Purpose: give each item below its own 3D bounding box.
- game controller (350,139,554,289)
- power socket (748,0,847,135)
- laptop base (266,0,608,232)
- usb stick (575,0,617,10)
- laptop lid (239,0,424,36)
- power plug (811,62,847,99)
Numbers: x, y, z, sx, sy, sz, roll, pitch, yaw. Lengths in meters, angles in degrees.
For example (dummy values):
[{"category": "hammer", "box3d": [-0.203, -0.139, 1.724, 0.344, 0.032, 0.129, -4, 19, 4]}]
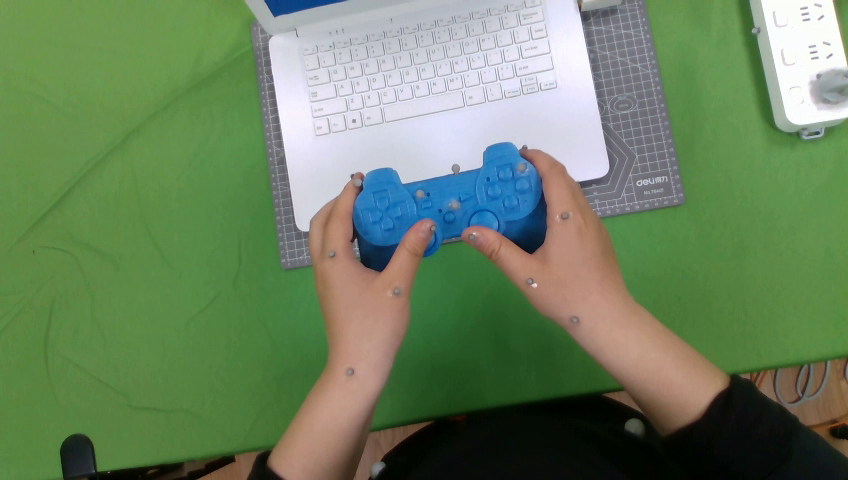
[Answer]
[{"category": "game controller", "box3d": [0.019, -0.019, 0.465, 0.155, 0.051, 0.097, -12, 96, 3]}, {"category": "power socket", "box3d": [0.389, -0.224, 0.637, 0.072, 0.033, 0.226, -9, 83, 7]}, {"category": "laptop base", "box3d": [0.007, -0.154, 0.681, 0.354, 0.023, 0.235, -11, 86, 5]}, {"category": "usb stick", "box3d": [0.181, -0.268, 0.660, 0.059, 0.027, 0.021, -10, 83, 10]}, {"category": "laptop lid", "box3d": [-0.031, -0.299, 0.580, 0.356, 0.243, 0.013, -11, 74, 7]}, {"category": "power plug", "box3d": [0.427, -0.158, 0.606, 0.072, 0.053, 0.035, 3, 84, 3]}]
